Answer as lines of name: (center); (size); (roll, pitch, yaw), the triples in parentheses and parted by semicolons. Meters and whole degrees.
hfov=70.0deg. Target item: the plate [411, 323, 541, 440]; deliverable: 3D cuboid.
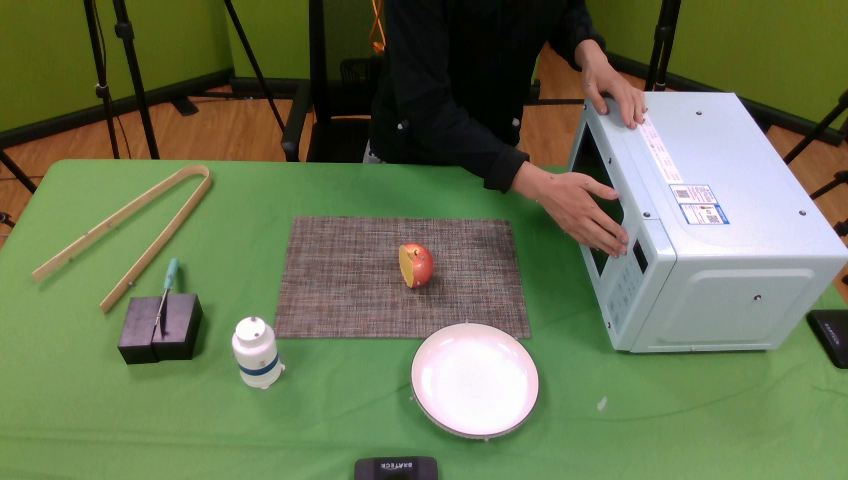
plate: (0.082, 0.228, 0.976); (0.208, 0.039, 0.206); (2, 45, -2)

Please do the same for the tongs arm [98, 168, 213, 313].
tongs arm: (-0.503, -0.012, 1.167); (0.028, 0.028, 0.385); (11, 45, 11)

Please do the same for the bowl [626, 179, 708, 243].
bowl: (0.455, -0.047, 1.168); (0.151, 0.077, 0.150); (7, 35, -5)

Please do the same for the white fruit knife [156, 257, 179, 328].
white fruit knife: (-0.440, 0.085, 1.037); (0.016, 0.027, 0.206); (10, 26, -19)

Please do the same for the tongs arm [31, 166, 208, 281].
tongs arm: (-0.578, -0.040, 1.184); (0.050, 0.026, 0.384); (23, 47, 17)

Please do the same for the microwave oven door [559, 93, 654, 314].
microwave oven door: (0.328, -0.074, 1.123); (0.039, 0.245, 0.353); (-1, 46, -4)

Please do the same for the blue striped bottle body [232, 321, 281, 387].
blue striped bottle body: (-0.262, 0.172, 0.944); (0.063, 0.121, 0.062); (2, 46, -2)

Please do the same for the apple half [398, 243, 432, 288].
apple half: (-0.012, 0.047, 1.115); (0.053, 0.075, 0.080); (-10, 43, -21)

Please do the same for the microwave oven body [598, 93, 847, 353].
microwave oven body: (0.476, -0.041, 1.110); (0.326, 0.261, 0.438); (-1, 45, -4)

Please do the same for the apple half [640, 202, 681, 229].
apple half: (0.455, -0.054, 1.161); (0.081, 0.033, 0.081); (-5, 34, 3)

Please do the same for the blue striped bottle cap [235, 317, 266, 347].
blue striped bottle cap: (-0.260, 0.137, 0.906); (0.044, 0.021, 0.044); (4, 42, -3)

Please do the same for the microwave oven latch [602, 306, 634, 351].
microwave oven latch: (0.333, 0.153, 1.044); (0.030, 0.029, 0.078); (-1, 45, -4)
